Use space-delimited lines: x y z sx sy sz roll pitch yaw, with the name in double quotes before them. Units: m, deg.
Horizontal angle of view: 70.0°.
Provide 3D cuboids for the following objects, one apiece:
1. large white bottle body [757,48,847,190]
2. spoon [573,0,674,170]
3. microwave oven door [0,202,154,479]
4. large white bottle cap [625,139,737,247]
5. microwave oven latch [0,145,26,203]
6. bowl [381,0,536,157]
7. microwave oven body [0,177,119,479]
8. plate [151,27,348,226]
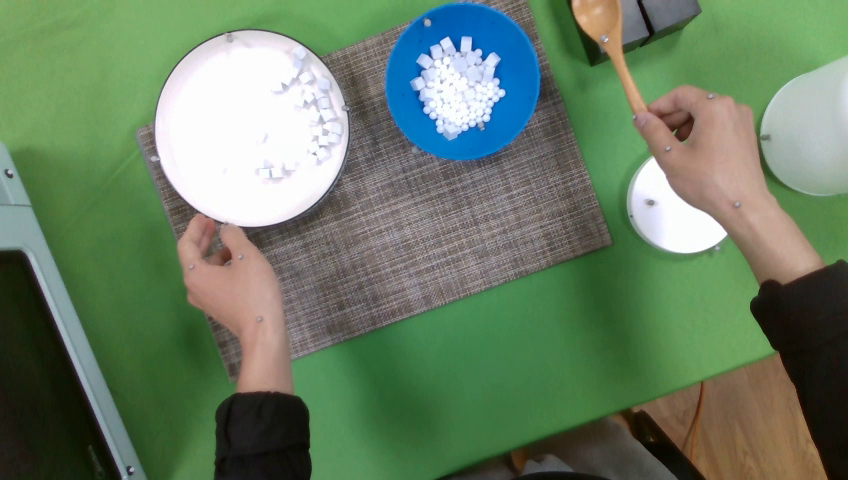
"large white bottle body" 0.411 -0.116 0.555 0.130 0.184 0.130 0 92 3
"spoon" 0.178 -0.151 0.539 0.041 0.022 0.192 -24 75 31
"microwave oven door" -0.385 0.132 0.555 0.039 0.244 0.356 -23 91 4
"large white bottle cap" 0.275 -0.049 0.647 0.115 0.018 0.115 0 92 1
"microwave oven latch" -0.462 -0.074 0.650 0.030 0.029 0.079 -23 92 3
"bowl" 0.034 -0.157 0.619 0.151 0.077 0.151 0 93 3
"microwave oven body" -0.536 0.149 0.567 0.326 0.260 0.442 -23 92 3
"plate" -0.183 -0.119 0.650 0.209 0.038 0.209 0 92 2
